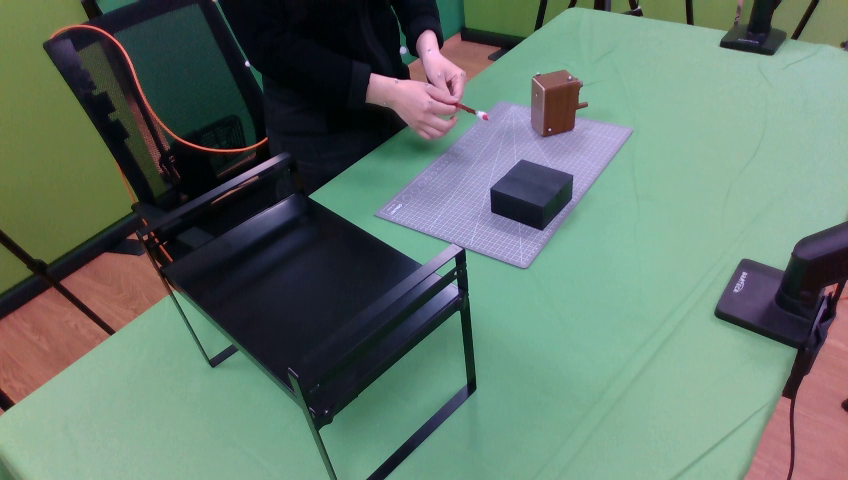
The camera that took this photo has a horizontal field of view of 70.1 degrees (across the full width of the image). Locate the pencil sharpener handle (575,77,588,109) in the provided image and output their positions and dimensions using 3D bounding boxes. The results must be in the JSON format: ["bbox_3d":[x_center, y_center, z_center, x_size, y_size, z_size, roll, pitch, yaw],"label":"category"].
[{"bbox_3d":[0.304,-0.289,1.178,0.031,0.068,0.035,-15,33,-9],"label":"pencil sharpener handle"}]

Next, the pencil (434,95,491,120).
[{"bbox_3d":[0.064,-0.240,1.077,0.012,0.012,0.192,-24,33,-18],"label":"pencil"}]

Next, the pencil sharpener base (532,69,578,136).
[{"bbox_3d":[0.256,-0.268,1.179,0.077,0.107,0.061,-15,41,-9],"label":"pencil sharpener base"}]
